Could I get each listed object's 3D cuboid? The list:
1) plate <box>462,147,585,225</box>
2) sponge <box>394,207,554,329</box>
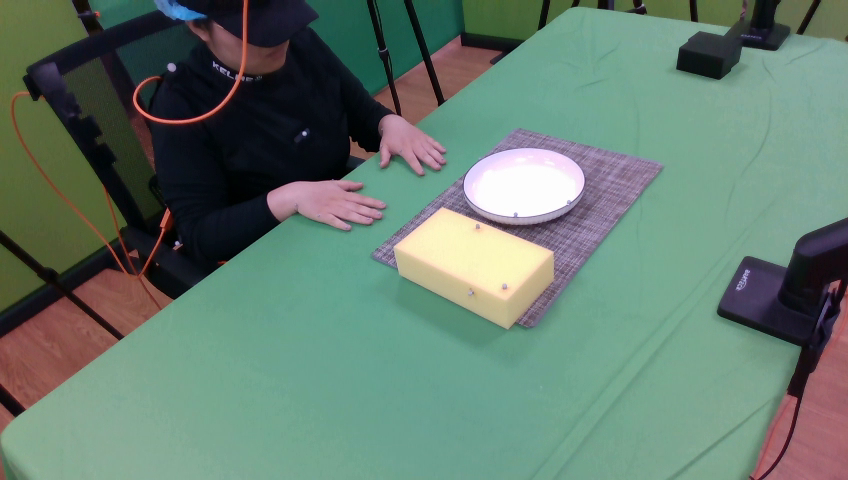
[{"bbox_3d":[0.170,-0.089,1.041,0.207,0.039,0.206,-5,40,5],"label":"plate"},{"bbox_3d":[0.073,0.035,0.895,0.205,0.061,0.118,24,50,33],"label":"sponge"}]
